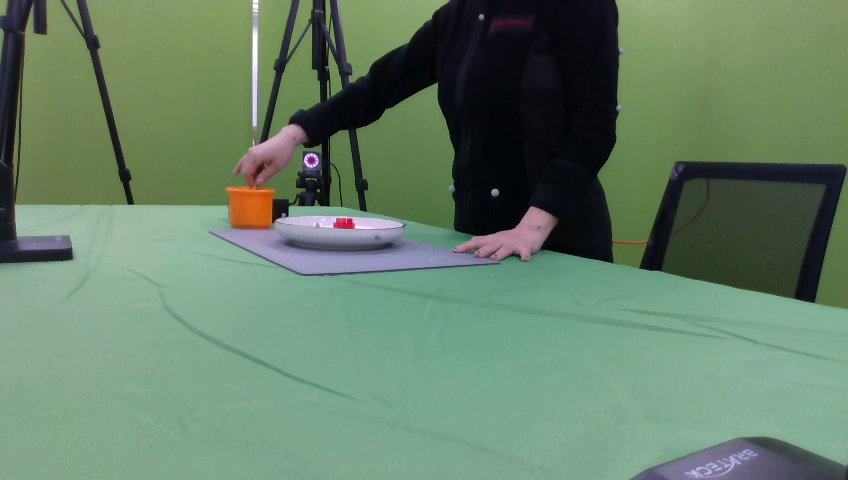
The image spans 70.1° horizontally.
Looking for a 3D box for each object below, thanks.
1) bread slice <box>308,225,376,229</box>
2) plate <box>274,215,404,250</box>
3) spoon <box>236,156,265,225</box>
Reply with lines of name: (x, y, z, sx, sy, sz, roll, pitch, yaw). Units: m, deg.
bread slice: (-0.134, -0.011, 0.974, 0.135, 0.018, 0.106, -3, 8, -33)
plate: (-0.137, -0.013, 0.981, 0.209, 0.038, 0.209, 2, 7, 0)
spoon: (-0.335, -0.102, 1.197, 0.042, 0.193, 0.021, 5, -37, -4)
